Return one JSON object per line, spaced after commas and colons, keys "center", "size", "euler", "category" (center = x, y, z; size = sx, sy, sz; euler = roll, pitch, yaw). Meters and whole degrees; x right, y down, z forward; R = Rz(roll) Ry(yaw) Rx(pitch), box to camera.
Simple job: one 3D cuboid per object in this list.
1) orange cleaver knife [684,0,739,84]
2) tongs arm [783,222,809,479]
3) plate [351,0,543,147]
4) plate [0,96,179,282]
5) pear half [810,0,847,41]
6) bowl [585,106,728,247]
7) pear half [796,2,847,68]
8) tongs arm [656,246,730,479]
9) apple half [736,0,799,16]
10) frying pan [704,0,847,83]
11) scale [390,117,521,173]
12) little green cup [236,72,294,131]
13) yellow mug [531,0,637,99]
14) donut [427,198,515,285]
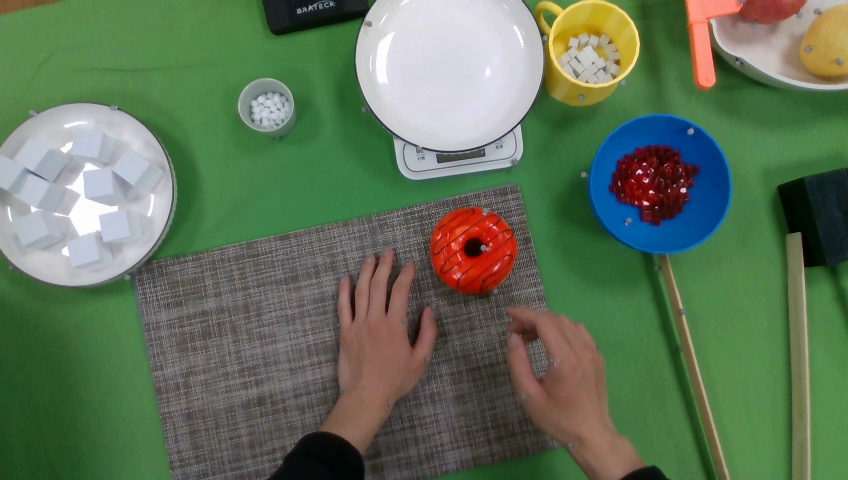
{"center": [0.306, -0.277, 0.660], "size": [0.077, 0.012, 0.211], "euler": [-8, 86, 1], "category": "orange cleaver knife"}
{"center": [0.414, 0.173, 0.684], "size": [0.028, 0.028, 0.386], "euler": [3, 86, -9], "category": "tongs arm"}
{"center": [0.025, -0.202, 0.669], "size": [0.209, 0.038, 0.208], "euler": [0, 85, -2], "category": "plate"}
{"center": [-0.376, -0.056, 0.677], "size": [0.208, 0.039, 0.207], "euler": [0, 85, -1], "category": "plate"}
{"center": [0.481, -0.256, 0.683], "size": [0.070, 0.088, 0.031], "euler": [19, 85, 6], "category": "pear half"}
{"center": [0.245, -0.064, 0.673], "size": [0.151, 0.077, 0.151], "euler": [0, 86, -1], "category": "bowl"}
{"center": [0.464, -0.227, 0.670], "size": [0.076, 0.110, 0.056], "euler": [23, 85, 5], "category": "pear half"}
{"center": [0.329, 0.183, 0.677], "size": [0.051, 0.026, 0.384], "euler": [-12, 87, -7], "category": "tongs arm"}
{"center": [0.388, -0.287, 0.691], "size": [0.081, 0.074, 0.053], "euler": [29, 89, -2], "category": "apple half"}
{"center": [0.502, -0.237, 0.679], "size": [0.307, 0.103, 0.485], "euler": [-40, 79, -3], "category": "frying pan"}
{"center": [0.028, -0.185, 0.700], "size": [0.149, 0.031, 0.200], "euler": [-8, 86, -2], "category": "scale"}
{"center": [-0.178, -0.155, 0.690], "size": [0.061, 0.038, 0.061], "euler": [0, 85, -1], "category": "little green cup"}
{"center": [0.171, -0.230, 0.690], "size": [0.130, 0.064, 0.100], "euler": [45, 86, 3], "category": "yellow mug"}
{"center": [0.052, 0.002, 0.676], "size": [0.099, 0.048, 0.099], "euler": [0, 87, 1], "category": "donut"}
